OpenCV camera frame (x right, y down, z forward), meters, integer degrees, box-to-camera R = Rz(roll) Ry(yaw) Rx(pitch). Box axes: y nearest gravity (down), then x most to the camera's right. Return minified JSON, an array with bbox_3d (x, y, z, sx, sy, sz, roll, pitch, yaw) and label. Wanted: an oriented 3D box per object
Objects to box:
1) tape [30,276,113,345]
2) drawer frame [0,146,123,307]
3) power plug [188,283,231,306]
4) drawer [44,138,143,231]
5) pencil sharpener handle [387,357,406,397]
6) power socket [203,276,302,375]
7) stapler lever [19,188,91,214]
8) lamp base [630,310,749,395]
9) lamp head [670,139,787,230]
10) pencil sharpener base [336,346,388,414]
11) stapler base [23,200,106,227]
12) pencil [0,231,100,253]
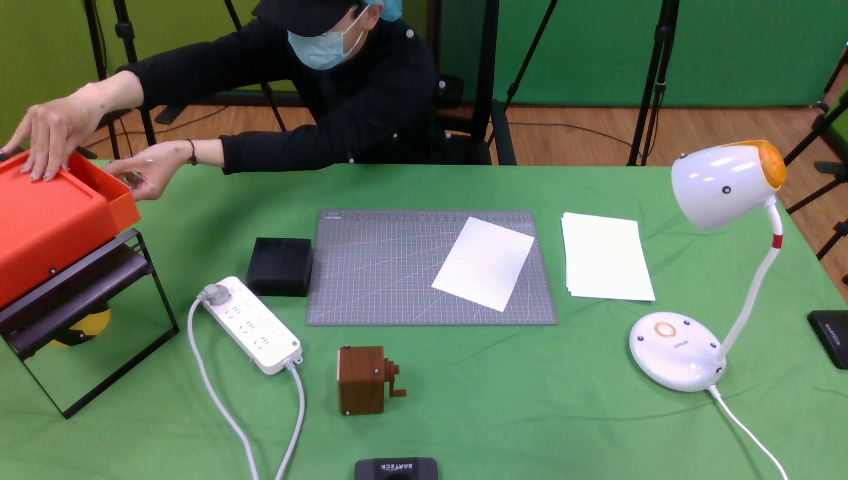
[{"bbox_3d":[-0.594,0.117,1.022,0.117,0.053,0.116,3,45,-2],"label":"tape"},{"bbox_3d":[-0.600,-0.022,0.885,0.201,0.083,0.213,30,52,22],"label":"drawer frame"},{"bbox_3d":[-0.368,0.099,1.037,0.072,0.053,0.035,-24,52,-25],"label":"power plug"},{"bbox_3d":[-0.576,-0.043,0.910,0.193,0.073,0.211,31,53,23],"label":"drawer"},{"bbox_3d":[-0.041,0.209,0.919,0.031,0.068,0.036,-1,25,-6],"label":"pencil sharpener handle"},{"bbox_3d":[-0.297,0.141,1.034,0.072,0.033,0.225,-34,58,-30],"label":"power socket"},{"bbox_3d":[-0.567,-0.061,0.927,0.118,0.040,0.026,6,46,10],"label":"stapler lever"},{"bbox_3d":[0.447,0.142,0.984,0.161,0.181,0.178,-24,55,-24],"label":"lamp base"},{"bbox_3d":[0.415,-0.079,0.812,0.113,0.123,0.112,13,70,-37],"label":"lamp head"},{"bbox_3d":[-0.094,0.215,0.927,0.077,0.107,0.061,-1,46,-6],"label":"pencil sharpener base"},{"bbox_3d":[-0.563,-0.046,0.944,0.130,0.024,0.041,4,46,12],"label":"stapler base"},{"bbox_3d":[-0.578,0.001,0.902,0.194,0.012,0.012,11,46,-1],"label":"pencil"}]
